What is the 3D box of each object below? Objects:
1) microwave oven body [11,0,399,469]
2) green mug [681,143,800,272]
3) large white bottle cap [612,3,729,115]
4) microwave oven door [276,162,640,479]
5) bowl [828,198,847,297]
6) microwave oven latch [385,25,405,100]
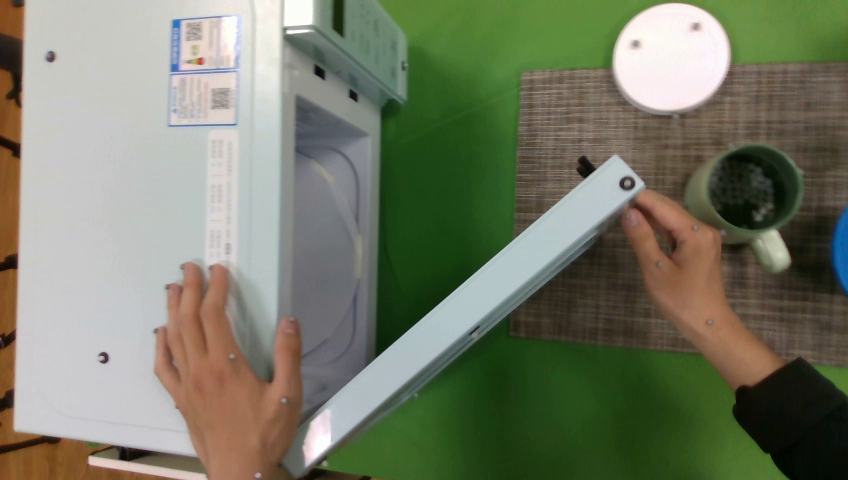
[{"bbox_3d":[-0.211,-0.031,0.641,0.325,0.261,0.441,1,90,15],"label":"microwave oven body"},{"bbox_3d":[0.306,-0.029,0.576,0.092,0.105,0.125,-25,82,14],"label":"green mug"},{"bbox_3d":[0.257,-0.190,0.637,0.114,0.018,0.114,-1,88,15],"label":"large white bottle cap"},{"bbox_3d":[0.045,0.070,0.563,0.356,0.245,0.039,-43,77,11],"label":"microwave oven door"},{"bbox_3d":[0.443,0.007,0.551,0.151,0.077,0.151,0,89,16],"label":"bowl"},{"bbox_3d":[-0.038,-0.203,0.695,0.030,0.029,0.079,2,90,15],"label":"microwave oven latch"}]
